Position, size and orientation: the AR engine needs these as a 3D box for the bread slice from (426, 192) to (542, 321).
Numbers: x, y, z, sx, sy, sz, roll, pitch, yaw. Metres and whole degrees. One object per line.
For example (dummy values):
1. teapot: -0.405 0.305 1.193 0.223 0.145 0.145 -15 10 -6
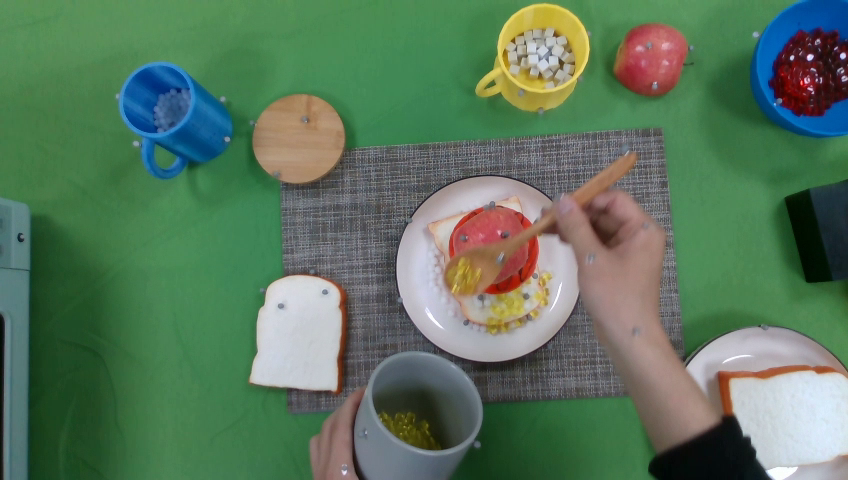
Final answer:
1. bread slice: 0.075 0.023 0.680 0.107 0.018 0.134 -20 83 1

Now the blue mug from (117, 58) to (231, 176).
1. blue mug: -0.280 -0.128 0.676 0.082 0.106 0.116 17 86 4

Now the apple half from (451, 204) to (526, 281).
1. apple half: 0.067 0.001 0.615 0.081 0.033 0.081 -1 82 10

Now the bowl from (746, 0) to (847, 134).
1. bowl: 0.419 -0.182 0.664 0.151 0.077 0.151 0 85 3

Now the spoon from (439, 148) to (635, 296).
1. spoon: 0.089 -0.012 0.495 0.194 0.021 0.042 -36 95 27

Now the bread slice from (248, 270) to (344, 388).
1. bread slice: -0.144 0.100 0.691 0.105 0.019 0.131 4 86 2

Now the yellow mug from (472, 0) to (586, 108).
1. yellow mug: 0.114 -0.201 0.686 0.131 0.064 0.099 -27 84 1

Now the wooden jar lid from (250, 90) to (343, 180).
1. wooden jar lid: -0.148 -0.121 0.710 0.108 0.021 0.108 0 82 3

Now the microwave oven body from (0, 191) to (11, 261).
1. microwave oven body: -0.619 0.160 0.584 0.326 0.260 0.440 -3 85 2

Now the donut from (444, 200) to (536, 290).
1. donut: 0.072 0.005 0.651 0.099 0.048 0.099 0 85 3

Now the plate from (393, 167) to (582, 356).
1. plate: 0.069 0.024 0.678 0.207 0.039 0.207 0 85 3

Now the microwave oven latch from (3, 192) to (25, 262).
1. microwave oven latch: -0.476 -0.014 0.690 0.030 0.029 0.079 0 85 2

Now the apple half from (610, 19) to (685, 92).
1. apple half: 0.256 -0.215 0.687 0.074 0.053 0.080 19 86 7

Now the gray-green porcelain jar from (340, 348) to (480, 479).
1. gray-green porcelain jar: -0.018 0.180 0.564 0.105 0.105 0.127 27 128 5

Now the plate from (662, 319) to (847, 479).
1. plate: 0.359 0.189 0.653 0.209 0.038 0.208 0 85 3

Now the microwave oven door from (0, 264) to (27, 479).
1. microwave oven door: -0.472 0.194 0.570 0.039 0.244 0.355 -4 84 3
